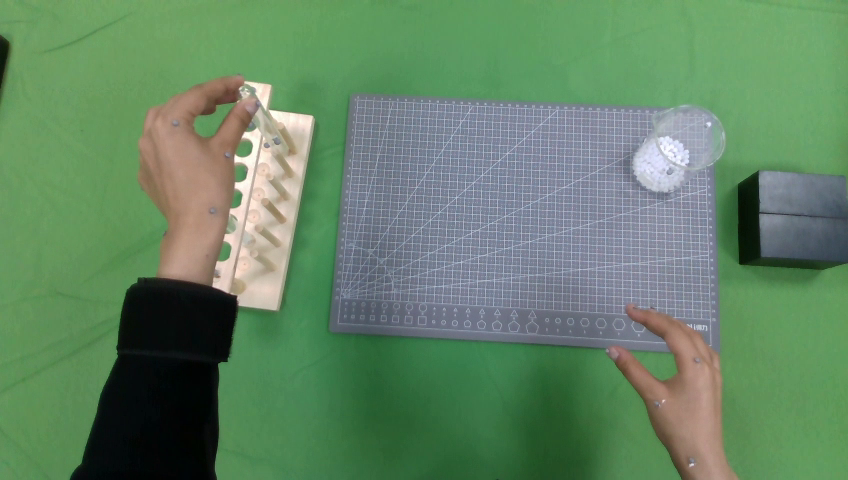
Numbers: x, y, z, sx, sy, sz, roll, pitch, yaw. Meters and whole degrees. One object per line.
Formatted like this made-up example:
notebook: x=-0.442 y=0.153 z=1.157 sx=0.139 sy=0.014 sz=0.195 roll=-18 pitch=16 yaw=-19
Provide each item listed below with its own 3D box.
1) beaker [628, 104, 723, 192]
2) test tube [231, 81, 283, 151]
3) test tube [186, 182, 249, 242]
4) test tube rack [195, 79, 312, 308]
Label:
beaker: x=0.278 y=-0.102 z=0.691 sx=0.084 sy=0.100 sz=0.074 roll=35 pitch=80 yaw=9
test tube: x=-0.159 y=-0.116 z=0.586 sx=0.017 sy=0.151 sz=0.017 roll=0 pitch=80 yaw=-1
test tube: x=-0.213 y=-0.026 z=0.638 sx=0.017 sy=0.151 sz=0.017 roll=-1 pitch=72 yaw=2
test tube rack: x=-0.190 y=-0.050 z=0.693 sx=0.067 sy=0.085 sz=0.241 roll=8 pitch=79 yaw=2
